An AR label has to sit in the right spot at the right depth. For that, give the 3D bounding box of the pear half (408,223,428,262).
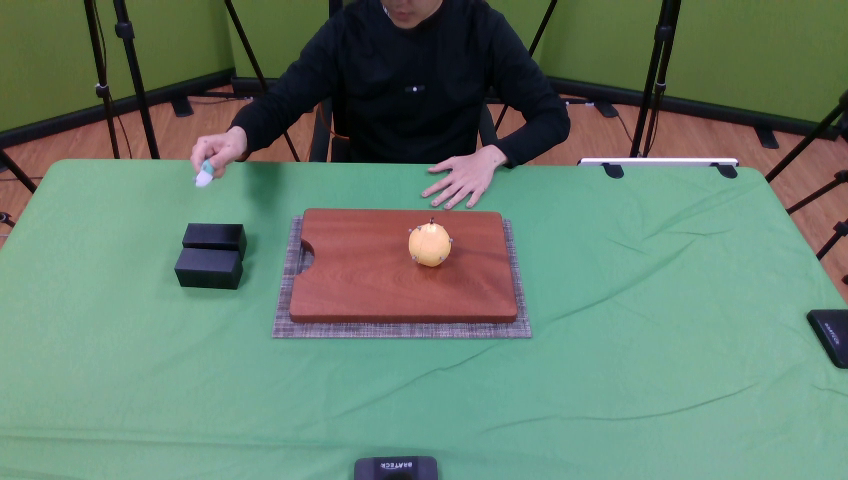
[{"bbox_3d":[-0.013,-0.001,1.107,0.031,0.088,0.070,8,53,2],"label":"pear half"}]

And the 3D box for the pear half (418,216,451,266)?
[{"bbox_3d":[0.023,-0.001,1.097,0.056,0.110,0.076,9,50,3],"label":"pear half"}]

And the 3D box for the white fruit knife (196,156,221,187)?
[{"bbox_3d":[-0.369,-0.118,1.033,0.016,0.027,0.206,-49,21,5],"label":"white fruit knife"}]
